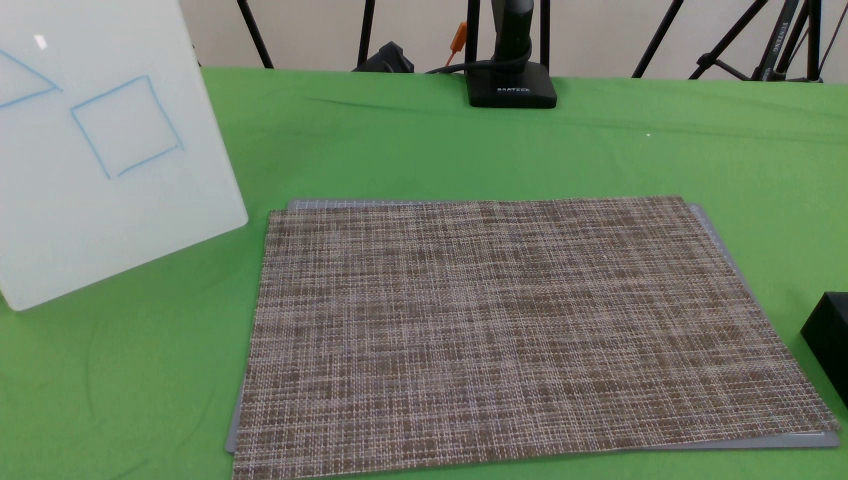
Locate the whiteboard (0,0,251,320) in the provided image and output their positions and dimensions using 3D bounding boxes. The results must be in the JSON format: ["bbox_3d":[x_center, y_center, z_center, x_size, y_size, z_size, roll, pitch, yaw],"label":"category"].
[{"bbox_3d":[-0.326,-0.125,0.554,0.217,0.308,0.142,-25,28,-28],"label":"whiteboard"}]
